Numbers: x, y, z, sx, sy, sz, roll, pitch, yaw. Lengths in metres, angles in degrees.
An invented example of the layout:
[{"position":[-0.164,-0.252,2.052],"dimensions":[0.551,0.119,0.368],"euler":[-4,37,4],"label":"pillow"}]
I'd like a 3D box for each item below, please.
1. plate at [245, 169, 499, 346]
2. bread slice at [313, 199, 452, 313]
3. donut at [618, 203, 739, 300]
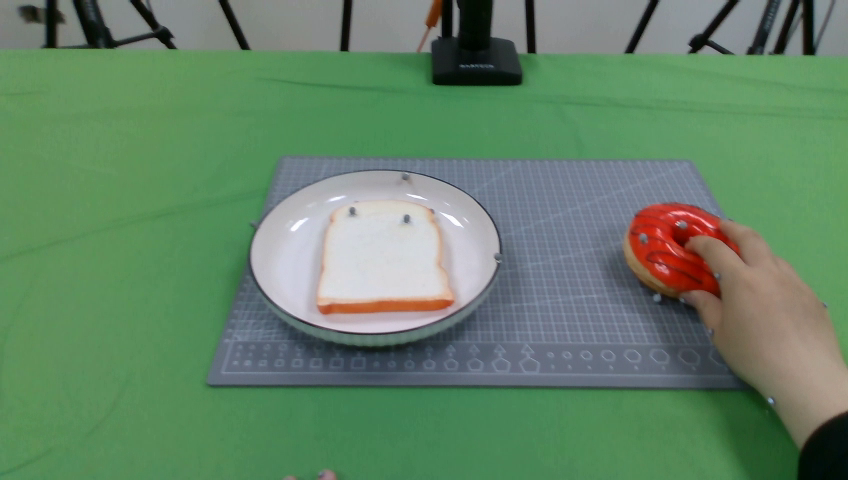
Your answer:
[{"position":[-0.041,0.013,0.513],"dimensions":[0.209,0.038,0.207],"euler":[1,41,-1],"label":"plate"},{"position":[-0.040,0.011,0.518],"dimensions":[0.107,0.018,0.133],"euler":[-3,42,-7],"label":"bread slice"},{"position":[0.216,0.009,0.514],"dimensions":[0.099,0.048,0.098],"euler":[3,48,-3],"label":"donut"}]
